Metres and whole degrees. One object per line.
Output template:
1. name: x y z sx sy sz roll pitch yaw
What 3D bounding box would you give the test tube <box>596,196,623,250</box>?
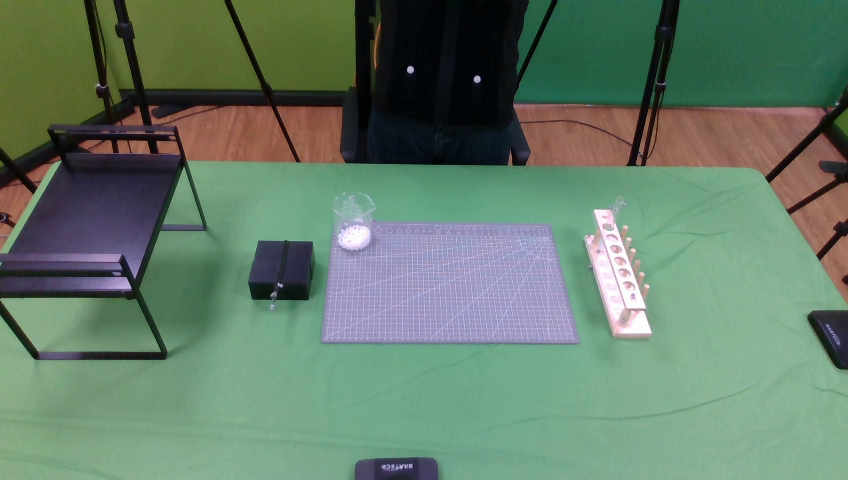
1. test tube: 0.348 -0.029 1.140 0.017 0.151 0.017 0 53 0

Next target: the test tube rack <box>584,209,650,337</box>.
1. test tube rack: 0.365 0.056 1.129 0.067 0.085 0.240 1 46 -4

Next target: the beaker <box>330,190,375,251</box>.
1. beaker: -0.136 -0.034 1.163 0.084 0.101 0.073 3 46 -3

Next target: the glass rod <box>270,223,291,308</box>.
1. glass rod: -0.255 0.041 1.082 0.008 0.008 0.198 2 46 -2
